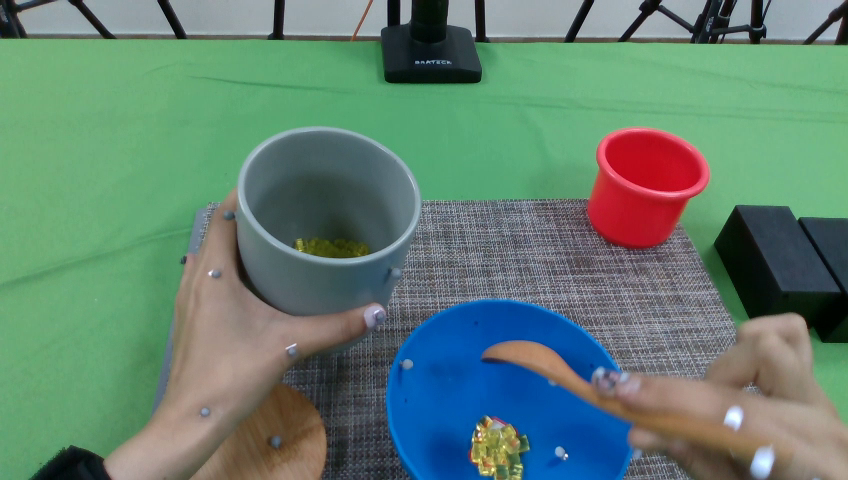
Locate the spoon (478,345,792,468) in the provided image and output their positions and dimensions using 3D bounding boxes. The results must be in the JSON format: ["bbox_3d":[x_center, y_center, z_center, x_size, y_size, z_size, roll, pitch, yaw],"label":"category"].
[{"bbox_3d":[0.085,0.076,0.294,0.042,0.021,0.192,6,2,-26],"label":"spoon"}]

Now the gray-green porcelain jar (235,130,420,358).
[{"bbox_3d":[-0.068,0.010,0.397,0.106,0.127,0.105,9,51,-11],"label":"gray-green porcelain jar"}]

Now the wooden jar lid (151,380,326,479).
[{"bbox_3d":[-0.118,0.143,0.394,0.108,0.021,0.107,2,46,-2],"label":"wooden jar lid"}]

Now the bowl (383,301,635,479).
[{"bbox_3d":[0.048,0.121,0.389,0.151,0.077,0.150,3,47,-3],"label":"bowl"}]
